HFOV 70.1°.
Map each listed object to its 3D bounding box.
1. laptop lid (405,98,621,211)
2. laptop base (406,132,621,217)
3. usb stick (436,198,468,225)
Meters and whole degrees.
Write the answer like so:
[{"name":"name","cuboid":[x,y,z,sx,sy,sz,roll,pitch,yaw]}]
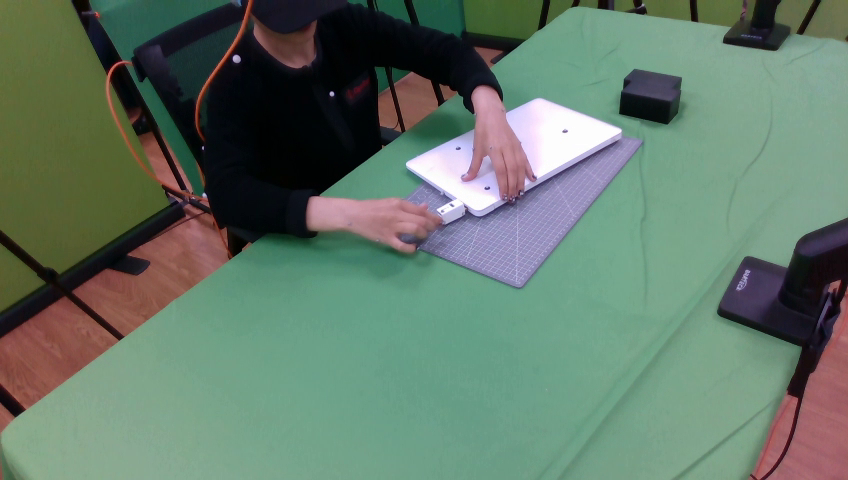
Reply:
[{"name":"laptop lid","cuboid":[0.166,-0.176,1.146,0.358,0.013,0.239,-28,40,-21]},{"name":"laptop base","cuboid":[0.169,-0.166,1.152,0.356,0.023,0.233,-29,40,-22]},{"name":"usb stick","cuboid":[0.051,-0.051,1.016,0.059,0.027,0.021,-24,40,-19]}]
